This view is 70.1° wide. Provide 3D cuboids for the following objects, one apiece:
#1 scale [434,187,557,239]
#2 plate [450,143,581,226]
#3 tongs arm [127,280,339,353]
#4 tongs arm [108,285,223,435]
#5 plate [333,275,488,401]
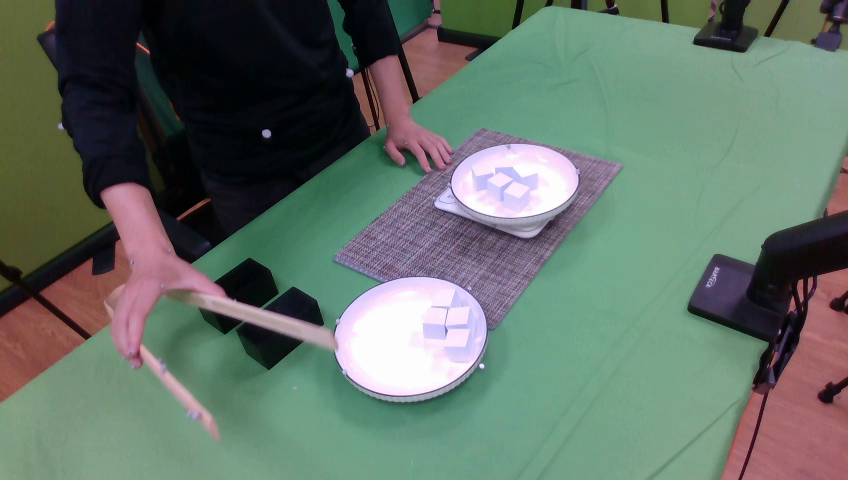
[{"bbox_3d":[0.132,-0.074,1.025,0.199,0.032,0.149,22,48,30],"label":"scale"},{"bbox_3d":[0.148,-0.087,0.986,0.209,0.038,0.208,-4,41,4],"label":"plate"},{"bbox_3d":[-0.242,0.086,0.723,0.384,0.028,0.028,7,37,37],"label":"tongs arm"},{"bbox_3d":[-0.292,0.118,0.679,0.051,0.026,0.381,-33,31,-33],"label":"tongs arm"},{"bbox_3d":[-0.017,0.131,0.808,0.207,0.039,0.206,-4,41,4],"label":"plate"}]
